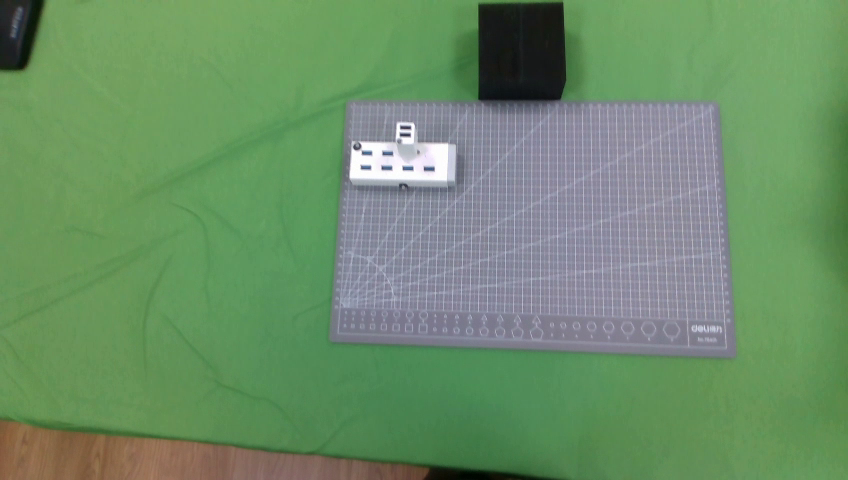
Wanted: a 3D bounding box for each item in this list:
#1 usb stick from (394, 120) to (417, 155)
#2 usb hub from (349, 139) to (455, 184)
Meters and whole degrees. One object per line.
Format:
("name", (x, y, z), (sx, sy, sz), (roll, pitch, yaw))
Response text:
("usb stick", (-0.020, -0.114, 0.695), (0.021, 0.059, 0.027), (3, 76, 4))
("usb hub", (-0.026, -0.094, 0.721), (0.125, 0.025, 0.049), (2, 77, 4))
